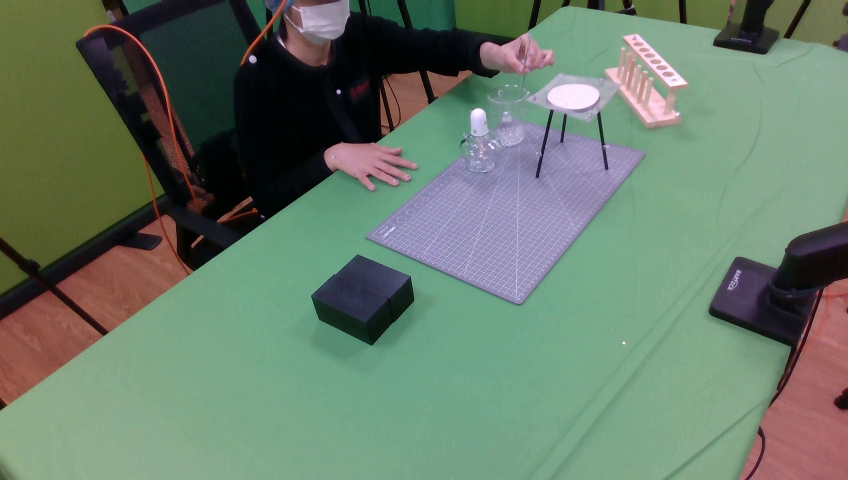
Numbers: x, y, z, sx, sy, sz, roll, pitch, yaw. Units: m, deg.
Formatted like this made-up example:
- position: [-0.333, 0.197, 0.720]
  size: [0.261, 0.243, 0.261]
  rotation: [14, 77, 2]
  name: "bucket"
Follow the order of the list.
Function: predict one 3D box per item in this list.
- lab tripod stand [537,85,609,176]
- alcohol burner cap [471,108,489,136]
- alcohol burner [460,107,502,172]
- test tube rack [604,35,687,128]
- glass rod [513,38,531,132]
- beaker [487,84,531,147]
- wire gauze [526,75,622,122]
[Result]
- position: [0.259, -0.192, 1.068]
  size: [0.148, 0.132, 0.147]
  rotation: [-4, 43, 4]
  name: "lab tripod stand"
- position: [0.098, -0.211, 1.074]
  size: [0.034, 0.048, 0.033]
  rotation: [-6, 42, 6]
  name: "alcohol burner cap"
- position: [0.102, -0.185, 1.098]
  size: [0.078, 0.119, 0.077]
  rotation: [-6, 40, 5]
  name: "alcohol burner"
- position: [0.447, -0.330, 1.241]
  size: [0.067, 0.085, 0.241]
  rotation: [-9, 41, -2]
  name: "test tube rack"
- position: [0.184, -0.285, 1.133]
  size: [0.008, 0.200, 0.008]
  rotation: [1, 47, -1]
  name: "glass rod"
- position: [0.163, -0.237, 1.161]
  size: [0.084, 0.101, 0.073]
  rotation: [-10, 41, -3]
  name: "beaker"
- position: [0.255, -0.248, 1.030]
  size: [0.124, 0.011, 0.122]
  rotation: [24, 51, 32]
  name: "wire gauze"
